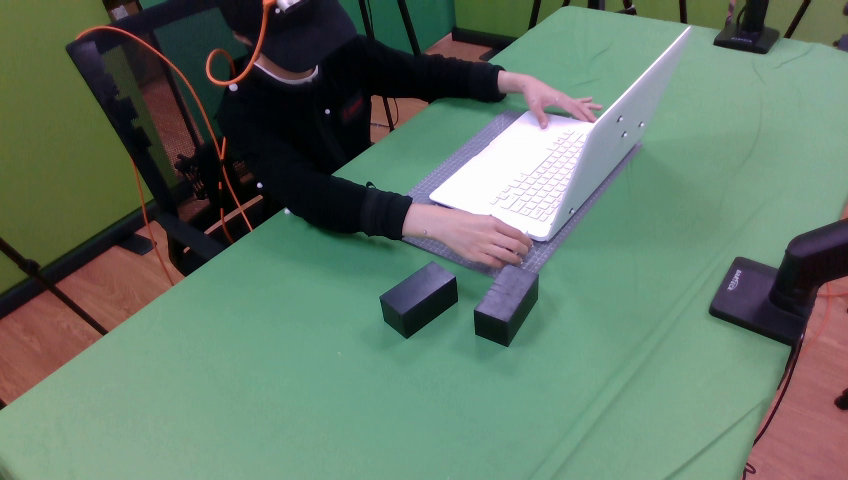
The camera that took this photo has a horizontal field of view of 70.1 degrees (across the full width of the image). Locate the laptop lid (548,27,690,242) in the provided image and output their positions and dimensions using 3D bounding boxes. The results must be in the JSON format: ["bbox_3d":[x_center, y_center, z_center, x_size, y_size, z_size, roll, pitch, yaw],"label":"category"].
[{"bbox_3d":[0.310,-0.168,0.950,0.013,0.242,0.358,33,52,20],"label":"laptop lid"}]

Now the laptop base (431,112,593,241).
[{"bbox_3d":[0.207,-0.129,1.100,0.233,0.023,0.355,20,47,33],"label":"laptop base"}]

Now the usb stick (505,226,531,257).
[{"bbox_3d":[0.150,-0.002,0.939,0.021,0.027,0.059,23,46,29],"label":"usb stick"}]
